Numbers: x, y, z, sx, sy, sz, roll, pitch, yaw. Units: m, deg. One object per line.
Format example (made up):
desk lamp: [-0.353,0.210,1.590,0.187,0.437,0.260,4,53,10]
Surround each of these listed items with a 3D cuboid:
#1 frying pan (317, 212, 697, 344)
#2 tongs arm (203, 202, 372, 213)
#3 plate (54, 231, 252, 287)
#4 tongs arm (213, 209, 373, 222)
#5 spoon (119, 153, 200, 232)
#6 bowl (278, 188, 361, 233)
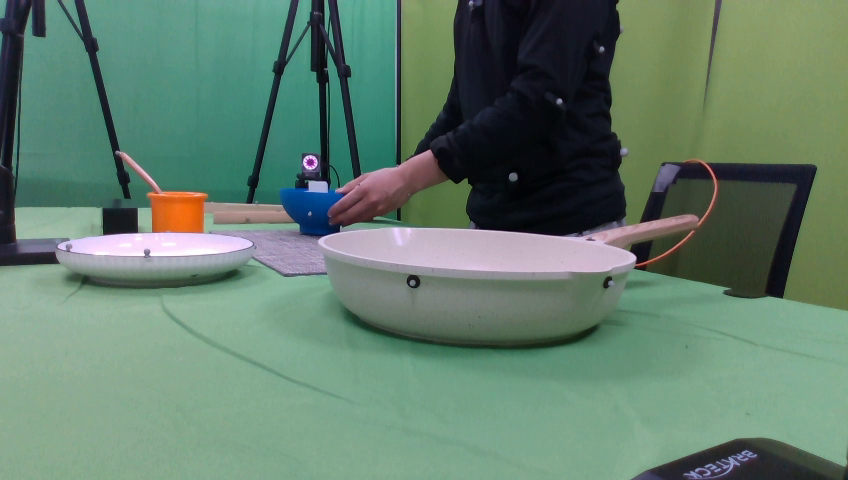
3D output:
frying pan: [0.133,0.013,0.629,0.490,0.102,0.305,-12,14,-31]
tongs arm: [-0.311,-0.069,1.417,0.387,0.026,0.050,1,8,-24]
plate: [-0.309,0.020,0.705,0.208,0.039,0.207,3,7,0]
tongs arm: [-0.274,-0.055,1.347,0.390,0.028,0.028,-2,6,-36]
spoon: [-0.439,-0.077,1.000,0.021,0.193,0.042,-43,-7,21]
bowl: [-0.193,-0.054,1.114,0.151,0.077,0.151,2,6,0]
